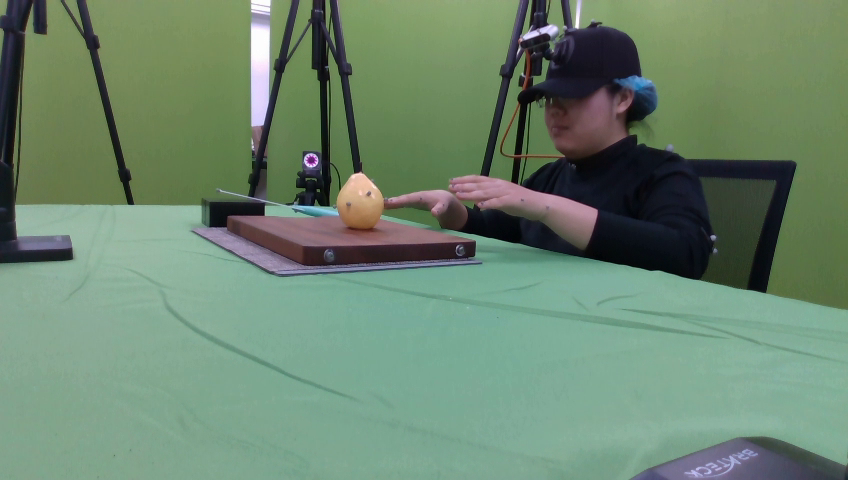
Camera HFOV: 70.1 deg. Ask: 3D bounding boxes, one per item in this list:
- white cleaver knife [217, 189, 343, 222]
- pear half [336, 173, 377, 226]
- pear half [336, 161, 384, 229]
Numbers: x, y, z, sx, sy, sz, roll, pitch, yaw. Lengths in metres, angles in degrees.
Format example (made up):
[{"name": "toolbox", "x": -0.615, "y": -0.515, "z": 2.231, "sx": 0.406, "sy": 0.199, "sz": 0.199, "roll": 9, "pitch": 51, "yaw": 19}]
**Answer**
[{"name": "white cleaver knife", "x": -0.275, "y": -0.066, "z": 1.233, "sx": 0.288, "sy": 0.021, "sz": 0.065, "roll": 11, "pitch": 6, "yaw": -29}, {"name": "pear half", "x": -0.116, "y": -0.067, "z": 1.004, "sx": 0.071, "sy": 0.088, "sz": 0.031, "roll": -11, "pitch": 13, "yaw": -31}, {"name": "pear half", "x": -0.099, "y": -0.072, "z": 0.972, "sx": 0.077, "sy": 0.110, "sz": 0.055, "roll": -7, "pitch": 11, "yaw": -31}]
